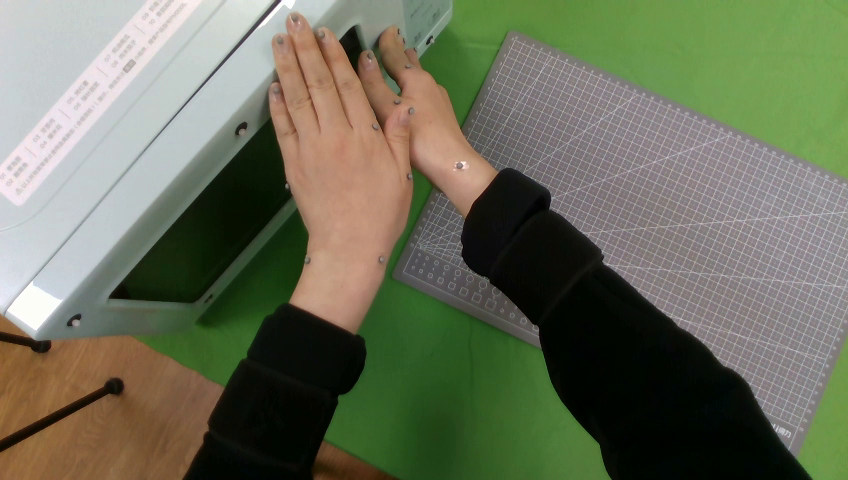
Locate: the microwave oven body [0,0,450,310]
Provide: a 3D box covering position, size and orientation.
[{"bbox_3d":[-0.233,-0.194,0.534,0.325,0.260,0.441,39,87,4],"label":"microwave oven body"}]

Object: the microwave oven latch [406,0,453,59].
[{"bbox_3d":[-0.003,-0.226,0.630,0.030,0.029,0.079,42,87,4],"label":"microwave oven latch"}]

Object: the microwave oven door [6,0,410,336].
[{"bbox_3d":[-0.145,-0.067,0.514,0.039,0.244,0.355,40,86,5],"label":"microwave oven door"}]
